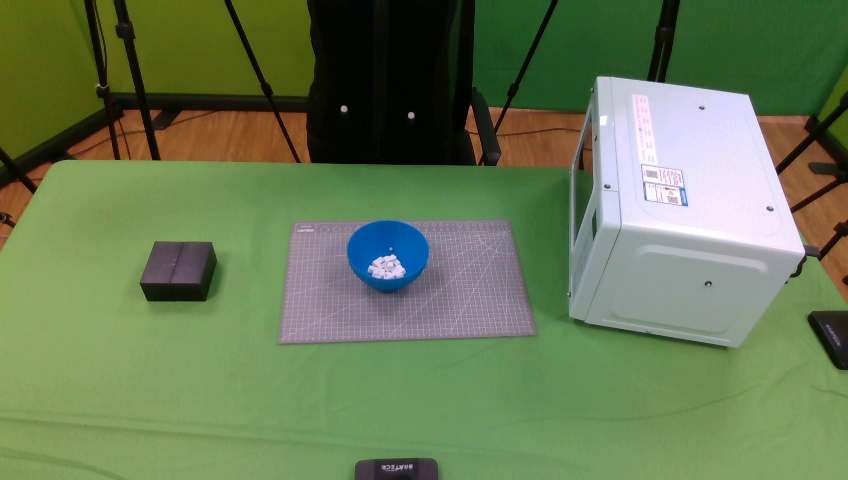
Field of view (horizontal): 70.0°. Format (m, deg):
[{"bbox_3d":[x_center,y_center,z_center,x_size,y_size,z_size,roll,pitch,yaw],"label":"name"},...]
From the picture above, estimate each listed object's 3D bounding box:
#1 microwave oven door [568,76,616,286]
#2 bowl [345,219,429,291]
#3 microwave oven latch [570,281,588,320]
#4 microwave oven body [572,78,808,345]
[{"bbox_3d":[0.319,-0.119,1.161,0.039,0.245,0.354,9,46,5],"label":"microwave oven door"},{"bbox_3d":[-0.068,0.041,1.111,0.151,0.077,0.150,2,46,-2],"label":"bowl"},{"bbox_3d":[0.275,0.105,1.083,0.030,0.029,0.079,9,45,6],"label":"microwave oven latch"},{"bbox_3d":[0.456,-0.063,1.125,0.326,0.261,0.439,8,45,5],"label":"microwave oven body"}]
